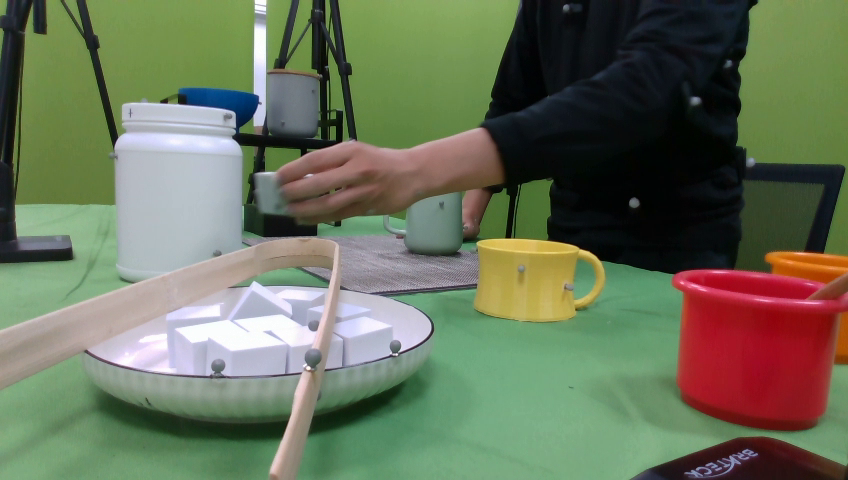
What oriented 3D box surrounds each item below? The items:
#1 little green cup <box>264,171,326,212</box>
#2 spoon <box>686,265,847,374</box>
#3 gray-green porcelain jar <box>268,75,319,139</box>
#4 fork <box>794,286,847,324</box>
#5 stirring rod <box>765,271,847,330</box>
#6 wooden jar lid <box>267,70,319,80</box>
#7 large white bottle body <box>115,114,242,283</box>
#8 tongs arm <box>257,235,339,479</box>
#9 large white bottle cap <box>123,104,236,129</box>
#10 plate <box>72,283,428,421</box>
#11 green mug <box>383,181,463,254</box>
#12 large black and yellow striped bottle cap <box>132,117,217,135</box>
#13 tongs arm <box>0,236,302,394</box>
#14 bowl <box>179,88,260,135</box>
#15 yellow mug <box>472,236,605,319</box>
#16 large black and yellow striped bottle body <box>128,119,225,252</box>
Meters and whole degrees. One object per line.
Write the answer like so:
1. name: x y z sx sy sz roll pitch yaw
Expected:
1. little green cup: -0.129 -0.049 0.607 0.061 0.038 0.061 3 7 0
2. spoon: 0.214 0.032 0.327 0.042 0.021 0.193 -2 -35 -26
3. gray-green porcelain jar: -0.277 -0.278 1.280 0.106 0.126 0.106 2 8 0
4. fork: 0.332 0.018 0.443 0.028 0.018 0.207 -3 -35 -16
5. stirring rod: 0.352 0.020 0.481 0.176 0.006 0.014 -40 -7 17
6. wooden jar lid: -0.275 -0.339 1.271 0.108 0.020 0.108 5 6 0
7. large white bottle body: -0.270 -0.051 0.673 0.131 0.184 0.130 2 8 0
8. tongs arm: -0.074 0.040 0.345 0.051 0.026 0.384 -2 10 -3
9. large white bottle cap: -0.266 -0.134 0.663 0.115 0.018 0.115 3 7 0
10. plate: -0.102 0.066 0.381 0.208 0.039 0.207 2 7 0
11. green mug: -0.001 -0.036 0.922 0.126 0.105 0.092 0 8 -16
12. large black and yellow striped bottle cap: -0.359 -0.164 0.875 0.115 0.019 0.115 2 6 0
13. tongs arm: -0.157 0.038 0.347 0.028 0.028 0.388 -3 8 12
14. bowl: -0.400 -0.248 1.188 0.151 0.077 0.151 2 6 0
15. yellow mug: 0.114 0.034 0.590 0.131 0.064 0.100 3 7 -8
16. large black and yellow striped bottle body: -0.361 -0.081 0.887 0.131 0.184 0.130 2 8 0
